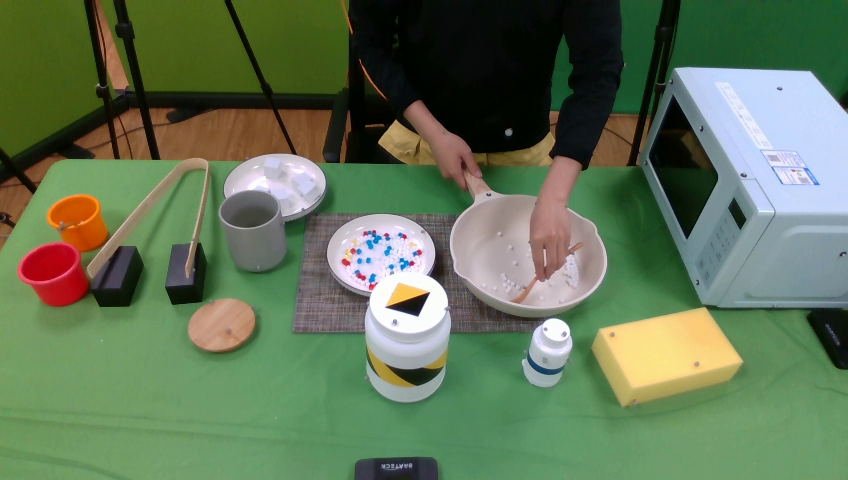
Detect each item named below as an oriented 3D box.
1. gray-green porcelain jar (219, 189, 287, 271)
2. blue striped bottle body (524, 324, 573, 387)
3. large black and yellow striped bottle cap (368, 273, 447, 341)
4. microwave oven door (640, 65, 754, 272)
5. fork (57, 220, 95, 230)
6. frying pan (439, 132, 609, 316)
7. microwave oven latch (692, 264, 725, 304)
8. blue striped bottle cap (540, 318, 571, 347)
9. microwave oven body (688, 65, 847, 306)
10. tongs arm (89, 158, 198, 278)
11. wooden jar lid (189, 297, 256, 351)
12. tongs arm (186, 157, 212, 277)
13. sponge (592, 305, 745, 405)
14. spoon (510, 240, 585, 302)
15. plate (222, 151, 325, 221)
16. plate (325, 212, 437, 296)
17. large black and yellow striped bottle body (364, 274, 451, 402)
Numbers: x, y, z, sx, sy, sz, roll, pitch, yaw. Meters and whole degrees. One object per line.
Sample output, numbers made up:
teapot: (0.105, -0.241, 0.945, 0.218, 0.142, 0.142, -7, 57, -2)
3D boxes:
gray-green porcelain jar: (-0.309, -0.014, 1.113, 0.106, 0.127, 0.105, 2, 46, -2)
blue striped bottle body: (0.200, 0.178, 0.970, 0.063, 0.121, 0.062, 2, 46, -2)
large black and yellow striped bottle cap: (-0.023, 0.094, 0.875, 0.115, 0.019, 0.114, 2, 45, -2)
microwave oven door: (0.524, -0.147, 1.193, 0.039, 0.245, 0.353, 0, 47, -3)
fork: (-0.624, -0.027, 1.086, 0.028, 0.207, 0.018, -3, 92, -17)
frying pan: (0.149, -0.049, 1.190, 0.307, 0.103, 0.484, -17, 58, -20)
microwave oven latch: (0.522, 0.081, 1.116, 0.030, 0.029, 0.078, 1, 46, -2)
blue striped bottle cap: (0.203, 0.142, 0.933, 0.044, 0.021, 0.044, 3, 49, -3)
microwave oven body: (0.669, -0.111, 1.176, 0.326, 0.261, 0.439, 0, 46, -3)
tongs arm: (-0.529, -0.057, 1.164, 0.028, 0.028, 0.385, 1, 36, 8)
wooden jar lid: (-0.342, 0.145, 1.033, 0.108, 0.021, 0.107, 2, 45, -2)
tongs arm: (-0.445, -0.058, 1.168, 0.051, 0.026, 0.382, -5, 37, -6)
sponge: (0.405, 0.190, 1.014, 0.207, 0.061, 0.117, -10, 48, -13)
spoon: (0.213, 0.060, 1.086, 0.193, 0.042, 0.021, -41, 73, -6)
plate: (-0.310, -0.106, 1.263, 0.208, 0.039, 0.206, 2, 47, -2)
plate: (-0.080, 0.030, 1.143, 0.209, 0.038, 0.208, 2, 46, -2)
large black and yellow striped bottle body: (-0.026, 0.151, 0.937, 0.131, 0.185, 0.130, 2, 47, -2)
